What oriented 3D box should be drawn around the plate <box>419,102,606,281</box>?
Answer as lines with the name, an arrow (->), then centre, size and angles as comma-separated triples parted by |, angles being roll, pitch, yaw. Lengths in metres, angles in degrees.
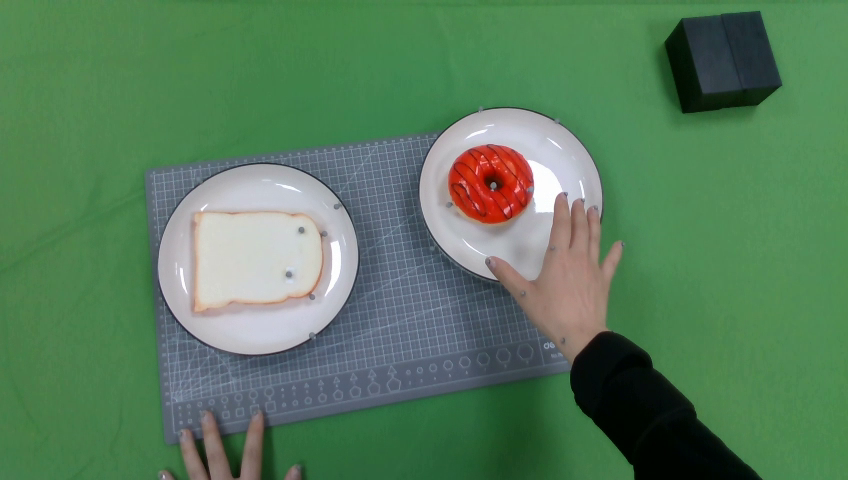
plate -> 0.097, -0.054, 0.683 | 0.208, 0.039, 0.206 | 1, 76, -4

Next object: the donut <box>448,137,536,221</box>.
donut -> 0.075, -0.068, 0.673 | 0.099, 0.048, 0.098 | 1, 72, -1

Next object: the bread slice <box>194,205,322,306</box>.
bread slice -> -0.178, 0.011, 0.649 | 0.134, 0.018, 0.106 | -6, 78, -6

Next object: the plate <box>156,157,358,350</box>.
plate -> -0.174, 0.015, 0.648 | 0.209, 0.038, 0.208 | 1, 76, -4
